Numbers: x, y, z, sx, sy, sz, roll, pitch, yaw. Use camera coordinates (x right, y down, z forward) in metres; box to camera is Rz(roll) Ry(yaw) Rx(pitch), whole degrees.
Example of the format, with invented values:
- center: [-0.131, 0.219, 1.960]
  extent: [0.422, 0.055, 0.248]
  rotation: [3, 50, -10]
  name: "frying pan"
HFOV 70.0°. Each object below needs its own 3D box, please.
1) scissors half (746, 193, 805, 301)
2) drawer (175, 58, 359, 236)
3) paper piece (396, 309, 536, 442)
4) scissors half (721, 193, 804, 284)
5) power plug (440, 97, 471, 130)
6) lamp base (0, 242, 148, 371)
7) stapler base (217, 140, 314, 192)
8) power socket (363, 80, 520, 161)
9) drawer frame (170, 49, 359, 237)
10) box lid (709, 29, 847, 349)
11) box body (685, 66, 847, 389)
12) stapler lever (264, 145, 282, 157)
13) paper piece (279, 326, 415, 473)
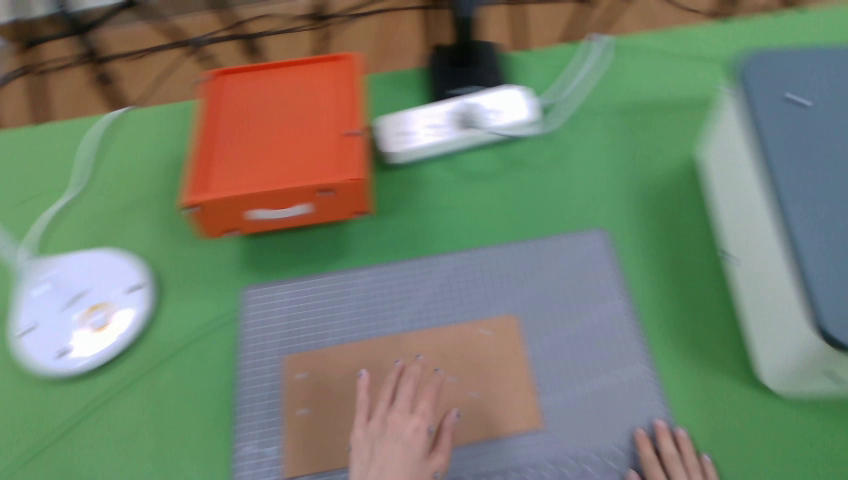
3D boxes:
- center: [0.416, 0.004, 0.702]
  extent: [0.040, 0.013, 0.174]
  rotation: [32, 63, 9]
  name: "scissors half"
- center: [-0.188, -0.119, 0.741]
  extent: [0.194, 0.074, 0.209]
  rotation: [-9, 58, 0]
  name: "drawer"
- center: [0.041, 0.143, 0.654]
  extent: [0.135, 0.004, 0.134]
  rotation: [-8, 58, 1]
  name: "paper piece"
- center: [0.401, -0.008, 0.708]
  extent: [0.175, 0.013, 0.039]
  rotation: [-36, 67, -23]
  name: "scissors half"
- center: [0.040, -0.156, 0.798]
  extent: [0.035, 0.053, 0.072]
  rotation: [-6, 58, 1]
  name: "power plug"
- center: [-0.428, 0.035, 0.660]
  extent: [0.178, 0.182, 0.160]
  rotation: [18, 61, 19]
  name: "lamp base"
- center: [-0.201, -0.095, 0.749]
  extent: [0.130, 0.024, 0.041]
  rotation: [17, 78, 17]
  name: "stapler base"
- center: [0.025, -0.165, 0.832]
  extent: [0.227, 0.033, 0.071]
  rotation: [-15, 59, -5]
  name: "power socket"
- center: [-0.190, -0.121, 0.743]
  extent: [0.202, 0.083, 0.211]
  rotation: [-9, 57, 0]
  name: "drawer frame"
- center: [0.446, -0.072, 0.576]
  extent: [0.263, 0.015, 0.368]
  rotation: [-4, 58, 3]
  name: "box lid"
- center: [0.452, -0.035, 0.639]
  extent: [0.254, 0.162, 0.360]
  rotation: [-3, 58, 3]
  name: "box body"
- center: [-0.209, -0.103, 0.724]
  extent: [0.117, 0.040, 0.027]
  rotation: [16, 78, 19]
  name: "stapler lever"
- center: [-0.087, 0.168, 0.650]
  extent: [0.136, 0.009, 0.137]
  rotation: [-12, 59, 1]
  name: "paper piece"
